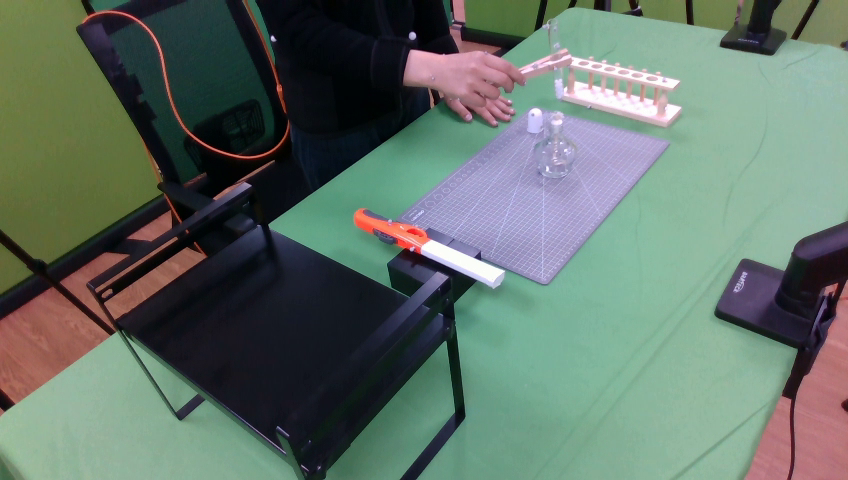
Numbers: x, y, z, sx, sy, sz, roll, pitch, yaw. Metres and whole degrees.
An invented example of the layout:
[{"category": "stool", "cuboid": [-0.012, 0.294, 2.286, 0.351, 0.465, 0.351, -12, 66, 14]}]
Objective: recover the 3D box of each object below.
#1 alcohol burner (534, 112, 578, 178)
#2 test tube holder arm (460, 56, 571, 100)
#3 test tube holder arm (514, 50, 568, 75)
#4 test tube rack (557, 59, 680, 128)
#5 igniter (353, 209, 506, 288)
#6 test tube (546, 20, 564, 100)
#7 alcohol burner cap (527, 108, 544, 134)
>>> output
[{"category": "alcohol burner", "cuboid": [0.232, -0.170, 1.066, 0.078, 0.119, 0.077, -5, 39, 5]}, {"category": "test tube holder arm", "cuboid": [0.144, -0.255, 0.953, 0.178, 0.015, 0.013, -17, 52, 6]}, {"category": "test tube holder arm", "cuboid": [0.184, -0.275, 0.952, 0.088, 0.015, 0.010, -24, 52, 1]}, {"category": "test tube rack", "cuboid": [0.395, -0.309, 1.230, 0.240, 0.085, 0.067, 25, 50, 33]}, {"category": "igniter", "cuboid": [-0.003, 0.007, 0.892, 0.274, 0.025, 0.057, 24, 37, 31]}, {"category": "test tube", "cuboid": [0.207, -0.278, 0.950, 0.017, 0.151, 0.017, -9, 54, 12]}, {"category": "alcohol burner cap", "cuboid": [0.222, -0.238, 1.203, 0.034, 0.048, 0.033, -5, 41, 5]}]
